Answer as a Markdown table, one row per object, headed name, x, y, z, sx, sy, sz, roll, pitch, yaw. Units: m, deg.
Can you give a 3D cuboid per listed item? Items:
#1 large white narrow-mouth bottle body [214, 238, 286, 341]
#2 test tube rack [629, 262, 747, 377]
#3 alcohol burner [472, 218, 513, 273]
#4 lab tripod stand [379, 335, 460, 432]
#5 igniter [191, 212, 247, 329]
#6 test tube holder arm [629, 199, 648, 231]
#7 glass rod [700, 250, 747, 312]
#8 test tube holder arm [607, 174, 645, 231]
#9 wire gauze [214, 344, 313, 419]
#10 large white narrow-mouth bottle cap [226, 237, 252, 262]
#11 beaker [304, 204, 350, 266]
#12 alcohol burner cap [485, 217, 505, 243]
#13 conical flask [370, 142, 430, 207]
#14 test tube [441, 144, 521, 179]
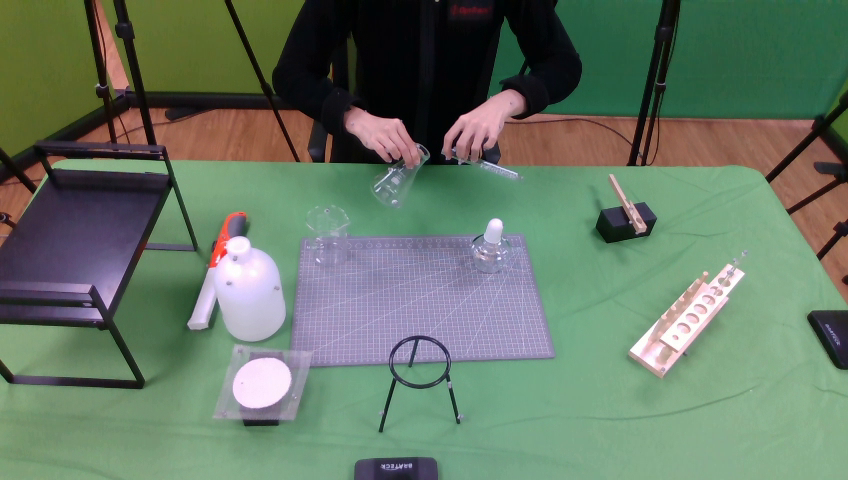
| name | x | y | z | sx | sy | sz | roll | pitch | yaw |
| --- | --- | --- | --- | --- | --- | --- | --- | --- | --- |
| large white narrow-mouth bottle body | -0.285 | 0.073 | 0.986 | 0.102 | 0.195 | 0.101 | 2 | 46 | -2 |
| test tube rack | 0.464 | 0.126 | 1.060 | 0.242 | 0.085 | 0.066 | -34 | 56 | -30 |
| alcohol burner | 0.128 | 0.005 | 1.132 | 0.078 | 0.120 | 0.077 | 0 | 47 | 0 |
| lab tripod stand | -0.010 | 0.214 | 0.911 | 0.148 | 0.132 | 0.147 | 1 | 45 | 0 |
| igniter | -0.376 | 0.047 | 1.121 | 0.057 | 0.025 | 0.275 | -4 | 46 | 6 |
| test tube holder arm | 0.423 | -0.050 | 1.206 | 0.010 | 0.015 | 0.087 | 1 | 42 | -12 |
| glass rod | 0.500 | 0.075 | 1.021 | 0.008 | 0.201 | 0.008 | 0 | 54 | 1 |
| test tube holder arm | 0.411 | -0.080 | 1.238 | 0.013 | 0.015 | 0.177 | 1 | 42 | -13 |
| wire gauze | -0.241 | 0.213 | 0.915 | 0.121 | 0.011 | 0.124 | 5 | 46 | 1 |
| large white narrow-mouth bottle cap | -0.282 | 0.014 | 0.923 | 0.038 | 0.024 | 0.037 | 2 | 46 | -2 |
| beaker | -0.178 | -0.006 | 1.132 | 0.084 | 0.101 | 0.073 | 4 | 46 | -1 |
| alcohol burner cap | 0.131 | -0.021 | 1.106 | 0.034 | 0.048 | 0.033 | 5 | 46 | -5 |
| conical flask | -0.038 | -0.124 | 1.114 | 0.075 | 0.122 | 0.075 | 32 | 30 | -20 |
| test tube | 0.102 | -0.139 | 1.080 | 0.150 | 0.017 | 0.017 | 19 | 46 | -4 |
